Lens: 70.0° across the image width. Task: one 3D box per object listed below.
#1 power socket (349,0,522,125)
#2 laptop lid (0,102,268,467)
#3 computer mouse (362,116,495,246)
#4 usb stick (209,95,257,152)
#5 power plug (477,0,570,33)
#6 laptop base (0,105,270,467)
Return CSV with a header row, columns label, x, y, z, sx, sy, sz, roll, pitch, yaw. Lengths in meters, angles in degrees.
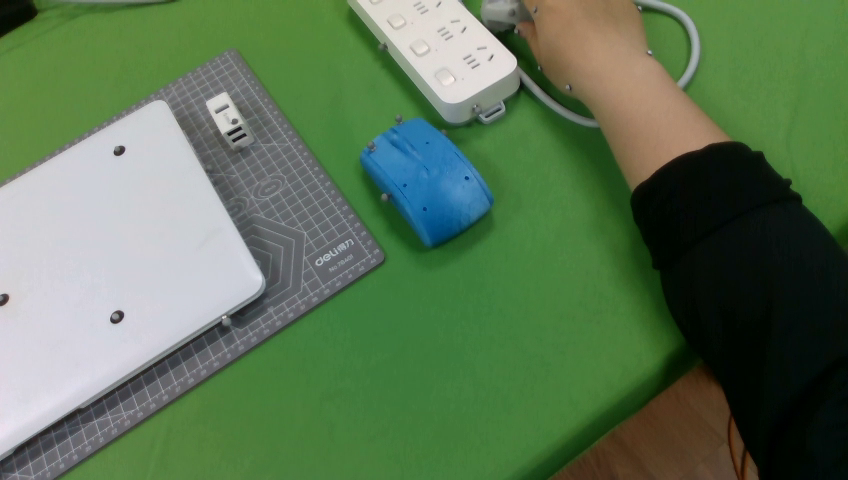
label,x,y,z,sx,sy,sz,roll,pitch,yaw
power socket,0.002,-0.185,0.533,0.072,0.033,0.224,-32,59,-5
laptop lid,-0.314,0.050,0.465,0.357,0.013,0.239,-32,61,-6
computer mouse,-0.001,-0.051,0.455,0.063,0.041,0.116,-35,55,-5
usb stick,-0.168,-0.105,0.526,0.021,0.027,0.058,-32,57,-5
power plug,0.082,-0.197,0.533,0.073,0.035,0.052,3,28,-24
laptop base,-0.314,0.053,0.476,0.354,0.023,0.233,-33,63,-7
